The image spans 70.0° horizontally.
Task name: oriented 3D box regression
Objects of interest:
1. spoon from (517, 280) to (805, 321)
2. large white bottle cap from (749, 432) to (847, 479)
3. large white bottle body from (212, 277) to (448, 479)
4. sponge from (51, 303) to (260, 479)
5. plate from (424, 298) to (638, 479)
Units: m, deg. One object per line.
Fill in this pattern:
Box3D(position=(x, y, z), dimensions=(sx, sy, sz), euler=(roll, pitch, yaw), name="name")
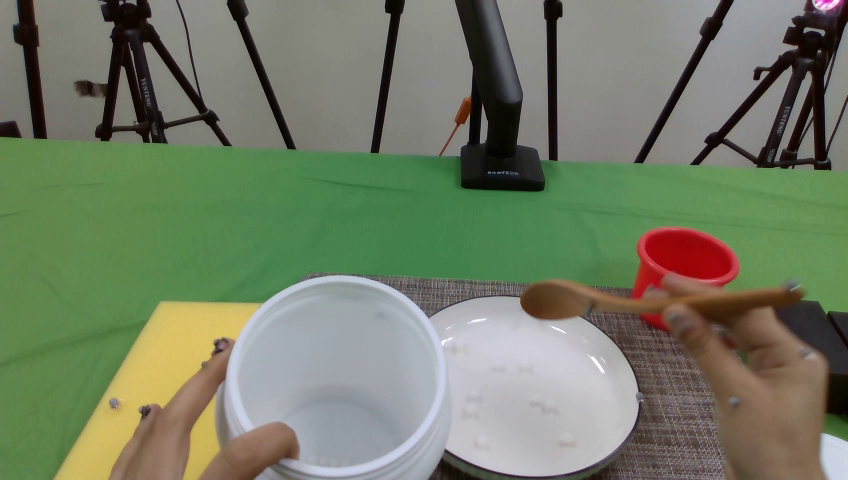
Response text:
Box3D(position=(0.136, 0.040, 0.387), dimensions=(0.192, 0.042, 0.021), euler=(-6, 39, 52), name="spoon")
Box3D(position=(0.314, 0.199, 0.467), dimensions=(0.115, 0.018, 0.113), euler=(3, 35, -2), name="large white bottle cap")
Box3D(position=(-0.057, 0.116, 0.374), dimensions=(0.131, 0.186, 0.129), euler=(6, 53, -7), name="large white bottle body")
Box3D(position=(-0.189, 0.140, 0.489), dimensions=(0.118, 0.061, 0.205), euler=(1, 34, 1), name="sponge")
Box3D(position=(0.078, 0.130, 0.534), dimensions=(0.209, 0.038, 0.207), euler=(2, 34, -1), name="plate")
